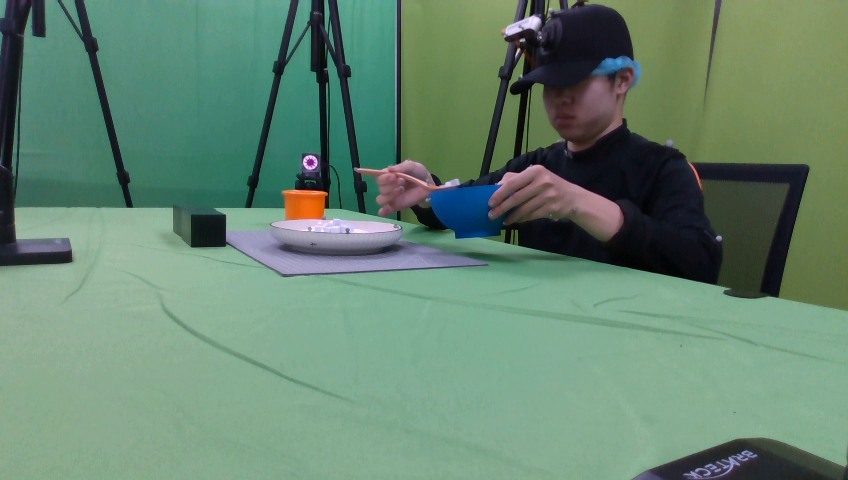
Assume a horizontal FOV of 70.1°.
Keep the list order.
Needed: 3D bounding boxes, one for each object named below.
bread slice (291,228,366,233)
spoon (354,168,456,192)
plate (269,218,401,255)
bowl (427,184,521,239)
[{"bbox_3d":[-0.143,-0.003,0.953,0.135,0.018,0.106,-1,8,-37],"label":"bread slice"},{"bbox_3d":[-0.035,-0.104,1.016,0.193,0.021,0.042,17,15,24],"label":"spoon"},{"bbox_3d":[-0.140,-0.006,0.958,0.209,0.038,0.209,3,7,0],"label":"plate"},{"bbox_3d":[0.082,-0.042,0.966,0.151,0.076,0.151,-4,1,0],"label":"bowl"}]
